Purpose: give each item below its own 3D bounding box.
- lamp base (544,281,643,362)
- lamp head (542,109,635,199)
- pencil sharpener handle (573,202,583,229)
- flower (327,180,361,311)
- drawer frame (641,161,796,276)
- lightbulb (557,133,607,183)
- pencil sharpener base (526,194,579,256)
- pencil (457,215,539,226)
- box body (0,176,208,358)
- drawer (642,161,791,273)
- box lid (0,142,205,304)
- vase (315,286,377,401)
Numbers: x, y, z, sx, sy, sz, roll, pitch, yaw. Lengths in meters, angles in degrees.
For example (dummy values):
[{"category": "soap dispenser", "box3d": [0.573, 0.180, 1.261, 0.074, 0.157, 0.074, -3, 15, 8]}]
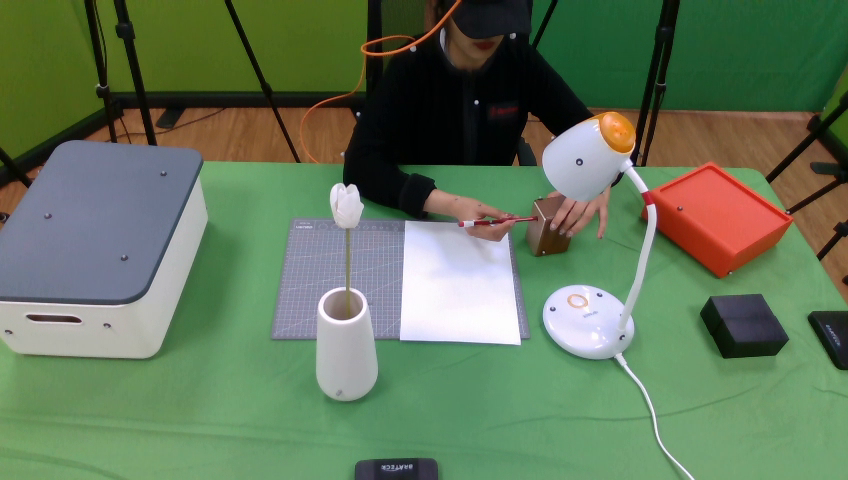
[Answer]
[{"category": "lamp base", "box3d": [0.303, 0.095, 1.014, 0.161, 0.181, 0.178, -24, 54, -24]}, {"category": "lamp head", "box3d": [0.253, -0.131, 0.893, 0.113, 0.123, 0.112, 10, 66, -24]}, {"category": "pencil sharpener handle", "box3d": [0.301, -0.047, 1.187, 0.031, 0.068, 0.035, -10, 47, -14]}, {"category": "flower", "box3d": [-0.110, 0.086, 0.867, 0.044, 0.363, 0.038, 22, 34, 36]}, {"category": "drawer frame", "box3d": [0.599, -0.051, 1.244, 0.202, 0.083, 0.212, -24, 52, -25]}, {"category": "lightbulb", "box3d": [0.242, -0.127, 0.916, 0.059, 0.108, 0.059, 5, 67, -12]}, {"category": "pencil sharpener base", "box3d": [0.252, -0.029, 1.183, 0.077, 0.107, 0.061, -10, 46, -14]}, {"category": "pencil", "box3d": [0.156, -0.038, 1.139, 0.194, 0.012, 0.012, -5, 46, -14]}, {"category": "box body", "box3d": [-0.546, 0.017, 1.045, 0.254, 0.161, 0.361, 2, 46, -2]}, {"category": "drawer", "box3d": [0.596, -0.051, 1.246, 0.194, 0.073, 0.210, -23, 52, -25]}, {"category": "box lid", "box3d": [-0.534, -0.044, 0.995, 0.263, 0.015, 0.369, 3, 45, -3]}, {"category": "vase", "box3d": [-0.119, 0.159, 0.911, 0.098, 0.201, 0.097, 2, 47, -2]}]
